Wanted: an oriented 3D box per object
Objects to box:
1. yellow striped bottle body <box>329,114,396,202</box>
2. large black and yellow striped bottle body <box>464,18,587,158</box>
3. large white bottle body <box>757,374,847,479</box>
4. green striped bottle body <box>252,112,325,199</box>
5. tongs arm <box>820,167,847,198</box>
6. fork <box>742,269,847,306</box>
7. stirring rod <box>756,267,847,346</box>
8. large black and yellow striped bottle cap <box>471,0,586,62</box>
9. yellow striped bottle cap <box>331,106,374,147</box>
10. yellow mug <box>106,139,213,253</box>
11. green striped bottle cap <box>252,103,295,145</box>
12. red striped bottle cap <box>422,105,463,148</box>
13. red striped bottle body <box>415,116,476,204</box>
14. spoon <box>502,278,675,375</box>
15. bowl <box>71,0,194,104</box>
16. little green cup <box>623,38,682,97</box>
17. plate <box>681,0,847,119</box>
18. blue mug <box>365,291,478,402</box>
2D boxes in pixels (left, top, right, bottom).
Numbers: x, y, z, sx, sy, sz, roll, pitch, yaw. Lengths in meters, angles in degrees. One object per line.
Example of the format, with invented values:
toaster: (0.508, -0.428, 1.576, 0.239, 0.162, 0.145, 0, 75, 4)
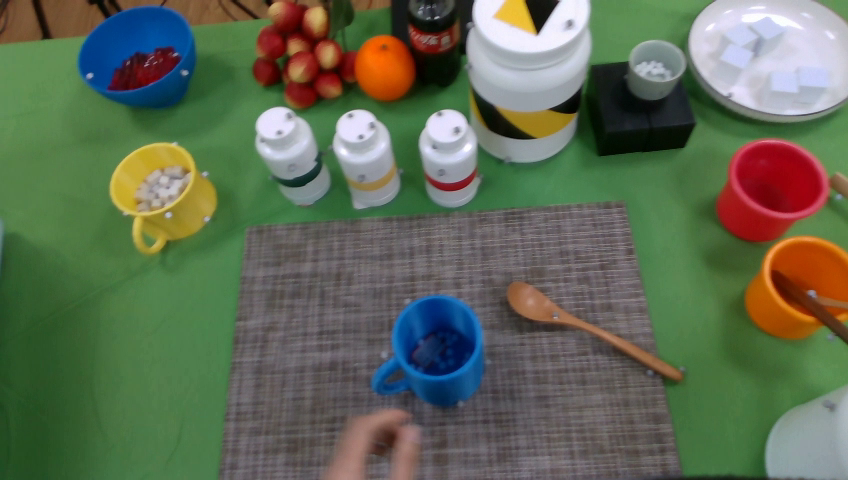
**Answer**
yellow striped bottle body: (-0.070, -0.099, 0.690, 0.063, 0.121, 0.062, -2, 63, 5)
large black and yellow striped bottle body: (0.111, -0.193, 0.685, 0.131, 0.185, 0.129, -2, 64, 4)
large white bottle body: (0.370, 0.172, 0.486, 0.130, 0.186, 0.129, -2, 64, 4)
green striped bottle body: (-0.157, -0.102, 0.700, 0.063, 0.120, 0.062, -2, 64, 4)
tongs arm: (0.588, 0.040, 0.615, 0.051, 0.027, 0.381, -36, 67, -16)
fork: (0.390, 0.060, 0.559, 0.028, 0.019, 0.205, -40, 23, -13)
stirring rod: (0.360, 0.061, 0.569, 0.014, 0.006, 0.175, -1, 21, 1)
large black and yellow striped bottle cap: (0.104, -0.230, 0.607, 0.115, 0.019, 0.114, -3, 65, 7)
yellow striped bottle cap: (-0.076, -0.121, 0.643, 0.044, 0.019, 0.044, 0, 61, 0)
yellow mug: (-0.316, -0.047, 0.717, 0.100, 0.064, 0.130, 5, 66, 7)
green striped bottle cap: (-0.163, -0.125, 0.653, 0.044, 0.020, 0.044, -1, 64, 2)
red striped bottle cap: (0.019, -0.119, 0.634, 0.044, 0.018, 0.044, 0, 63, 1)
red striped bottle body: (0.025, -0.095, 0.681, 0.063, 0.121, 0.062, -3, 63, 6)
spoon: (0.168, 0.091, 0.629, 0.193, 0.022, 0.041, 25, 48, 15)
bowl: (-0.370, -0.235, 0.805, 0.151, 0.077, 0.150, -2, 64, 4)
little green cup: (0.261, -0.197, 0.699, 0.061, 0.039, 0.061, -1, 62, 2)
plate: (0.427, -0.233, 0.759, 0.209, 0.038, 0.207, -2, 65, 4)
blue mug: (-0.003, 0.113, 0.587, 0.116, 0.107, 0.081, -27, 65, -8)
